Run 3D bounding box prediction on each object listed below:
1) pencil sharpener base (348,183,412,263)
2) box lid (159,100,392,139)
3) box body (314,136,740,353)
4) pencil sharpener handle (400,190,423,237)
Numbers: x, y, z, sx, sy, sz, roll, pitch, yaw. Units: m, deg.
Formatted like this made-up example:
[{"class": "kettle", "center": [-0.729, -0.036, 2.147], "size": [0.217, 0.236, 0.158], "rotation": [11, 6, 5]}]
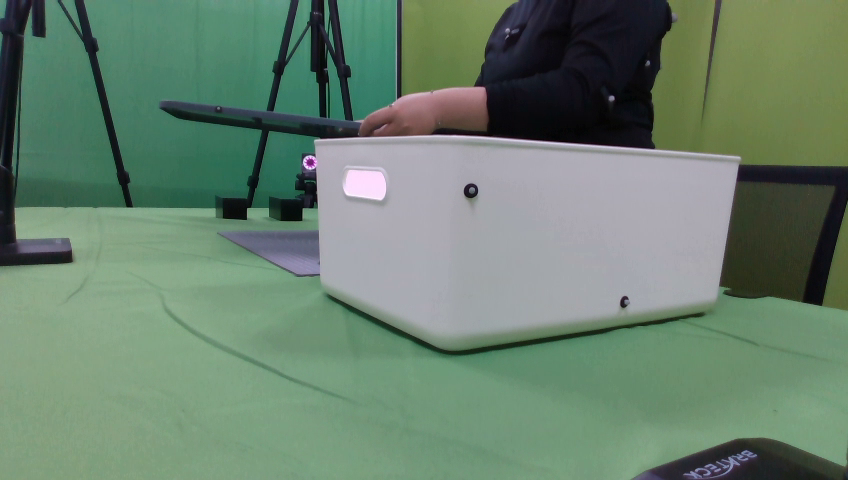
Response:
[{"class": "pencil sharpener base", "center": [-0.059, -0.024, 0.845], "size": [0.077, 0.107, 0.061], "rotation": [-1, 7, -30]}, {"class": "box lid", "center": [-0.257, -0.203, 1.073], "size": [0.373, 0.015, 0.262], "rotation": [4, 4, -15]}, {"class": "box body", "center": [0.098, -0.012, 0.605], "size": [0.366, 0.160, 0.253], "rotation": [-2, 8, -33]}, {"class": "pencil sharpener handle", "center": [-0.015, -0.037, 0.871], "size": [0.031, 0.067, 0.036], "rotation": [-1, 13, -30]}]
